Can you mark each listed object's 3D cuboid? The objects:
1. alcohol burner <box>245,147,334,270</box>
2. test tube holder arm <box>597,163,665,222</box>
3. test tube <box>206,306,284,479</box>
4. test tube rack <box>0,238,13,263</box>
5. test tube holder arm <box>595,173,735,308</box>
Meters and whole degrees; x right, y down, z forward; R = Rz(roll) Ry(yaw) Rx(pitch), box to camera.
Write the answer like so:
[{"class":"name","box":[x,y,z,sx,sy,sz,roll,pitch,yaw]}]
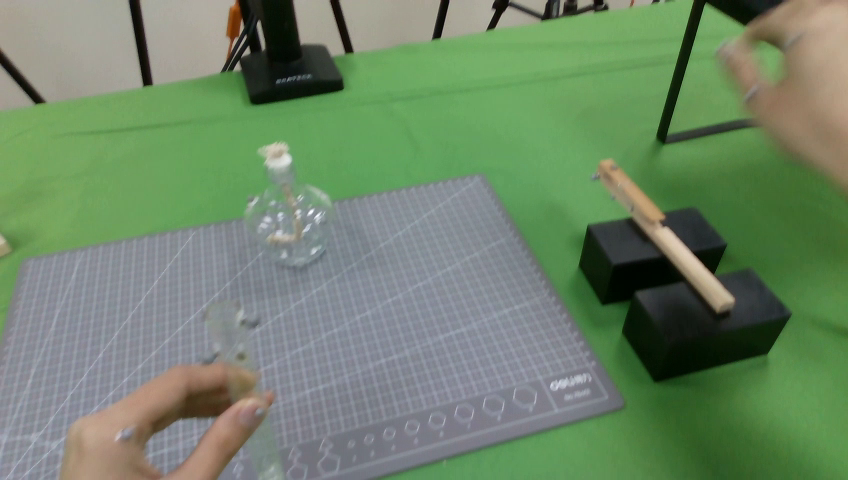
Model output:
[{"class":"alcohol burner","box":[-0.119,-0.031,0.526,0.078,0.120,0.077,1,44,0]},{"class":"test tube holder arm","box":[0.178,-0.040,0.525,0.015,0.010,0.087,-8,42,-16]},{"class":"test tube","box":[-0.087,0.091,0.306,0.017,0.151,0.017,1,39,0]},{"class":"test tube rack","box":[-0.491,0.030,0.491,0.066,0.086,0.242,32,52,30]},{"class":"test tube holder arm","box":[0.191,-0.008,0.496,0.015,0.013,0.176,-8,41,-16]}]
